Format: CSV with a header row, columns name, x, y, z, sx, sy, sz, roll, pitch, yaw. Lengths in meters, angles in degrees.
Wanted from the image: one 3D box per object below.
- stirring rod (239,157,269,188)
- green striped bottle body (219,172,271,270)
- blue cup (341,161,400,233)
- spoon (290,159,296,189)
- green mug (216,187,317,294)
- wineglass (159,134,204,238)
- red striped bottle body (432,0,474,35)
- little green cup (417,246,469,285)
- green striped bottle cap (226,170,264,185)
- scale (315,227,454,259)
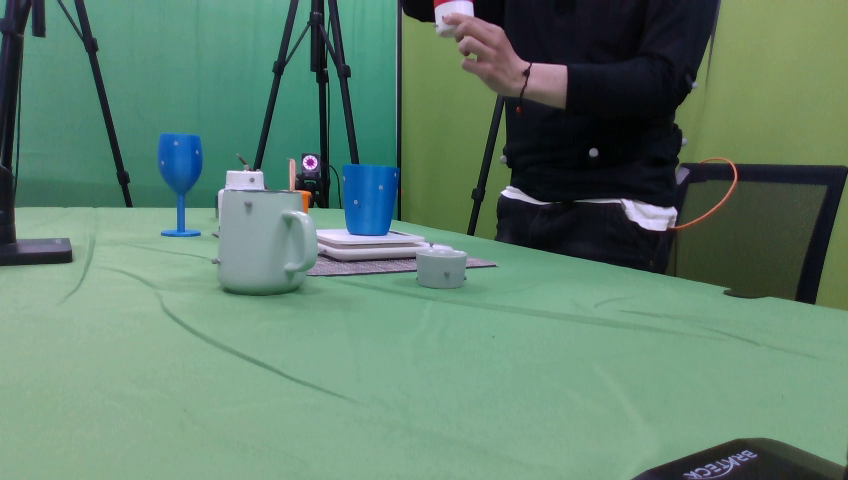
name,x,y,z,sx,sy,sz,roll,pitch,yaw
stirring rod,-0.309,-0.098,1.209,0.006,0.177,0.014,-39,29,-4
green striped bottle body,-0.223,-0.025,0.755,0.063,0.119,0.063,2,7,0
blue cup,-0.080,-0.062,0.883,0.093,0.100,0.092,2,4,0
spoon,-0.273,-0.102,1.252,0.042,0.193,0.021,7,-38,-17
green mug,-0.157,0.000,0.629,0.124,0.105,0.093,7,9,37
wineglass,-0.415,-0.093,1.040,0.074,0.172,0.073,2,7,0
red striped bottle body,0.043,-0.394,0.959,0.063,0.119,0.063,-7,5,1
little green cup,0.021,0.029,0.701,0.061,0.038,0.061,1,6,0
green striped bottle cap,-0.222,-0.076,0.748,0.044,0.020,0.044,0,7,0
scale,-0.066,0.001,0.906,0.202,0.031,0.148,-2,8,-31
